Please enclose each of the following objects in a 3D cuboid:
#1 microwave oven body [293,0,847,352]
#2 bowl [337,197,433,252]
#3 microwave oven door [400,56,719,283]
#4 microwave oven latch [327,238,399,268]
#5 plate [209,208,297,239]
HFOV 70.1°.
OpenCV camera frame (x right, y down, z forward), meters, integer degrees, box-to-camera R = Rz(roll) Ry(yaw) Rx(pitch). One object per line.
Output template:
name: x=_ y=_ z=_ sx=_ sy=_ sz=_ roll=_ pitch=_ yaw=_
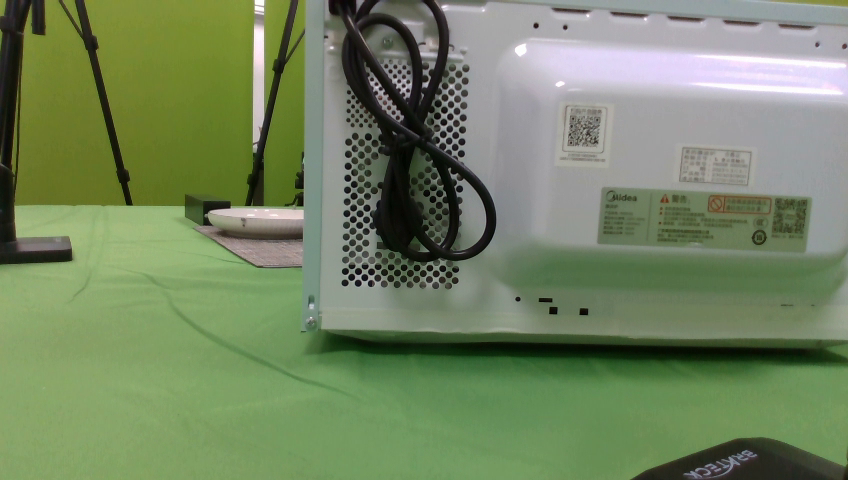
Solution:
microwave oven body: x=0.122 y=-0.055 z=0.550 sx=0.442 sy=0.260 sz=0.325 roll=3 pitch=7 yaw=-5
bowl: x=-0.062 y=-0.025 z=0.955 sx=0.151 sy=0.077 sz=0.151 roll=3 pitch=8 yaw=0
microwave oven door: x=0.155 y=-0.078 z=0.698 sx=0.356 sy=0.243 sz=0.039 roll=2 pitch=8 yaw=-5
microwave oven latch: x=-0.069 y=0.015 z=0.694 sx=0.079 sy=0.029 sz=0.030 roll=3 pitch=7 yaw=-3
plate: x=-0.271 y=-0.029 z=1.074 sx=0.208 sy=0.039 sz=0.207 roll=3 pitch=7 yaw=0
